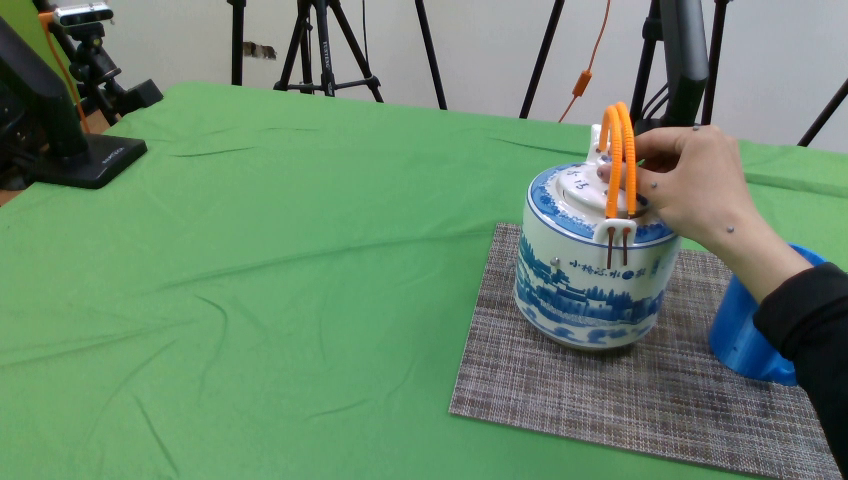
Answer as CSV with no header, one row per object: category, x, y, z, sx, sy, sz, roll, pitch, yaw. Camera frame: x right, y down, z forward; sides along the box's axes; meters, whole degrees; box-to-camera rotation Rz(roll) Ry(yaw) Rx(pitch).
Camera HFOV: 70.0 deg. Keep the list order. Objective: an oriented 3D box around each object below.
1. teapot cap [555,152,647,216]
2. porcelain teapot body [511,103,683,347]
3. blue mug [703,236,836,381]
teapot cap,0.159,-0.055,0.539,0.085,0.044,0.084,10,30,-5
porcelain teapot body,0.165,-0.035,0.592,0.145,0.227,0.203,4,37,4
blue mug,0.320,0.071,0.555,0.082,0.107,0.115,-2,38,-3
